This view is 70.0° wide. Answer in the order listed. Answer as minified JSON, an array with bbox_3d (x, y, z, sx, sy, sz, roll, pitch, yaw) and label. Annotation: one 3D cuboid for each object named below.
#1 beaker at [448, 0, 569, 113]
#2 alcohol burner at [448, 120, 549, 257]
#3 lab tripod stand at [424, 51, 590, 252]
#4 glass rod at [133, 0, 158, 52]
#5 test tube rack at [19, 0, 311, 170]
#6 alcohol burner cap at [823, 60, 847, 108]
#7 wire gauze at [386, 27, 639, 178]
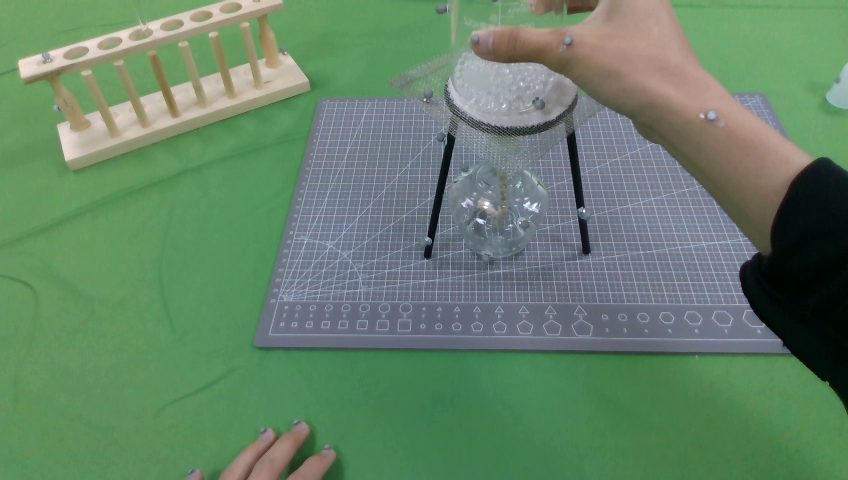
[{"bbox_3d":[0.047,-0.135,0.365,0.083,0.101,0.073,15,53,15],"label":"beaker"},{"bbox_3d":[0.057,-0.043,0.453,0.078,0.120,0.077,-1,51,1],"label":"alcohol burner"},{"bbox_3d":[0.064,-0.060,0.454,0.148,0.133,0.147,0,48,1],"label":"lab tripod stand"},{"bbox_3d":[-0.255,-0.205,0.545,0.008,0.201,0.008,2,50,-2],"label":"glass rod"},{"bbox_3d":[-0.243,-0.161,0.594,0.242,0.086,0.066,-24,52,-17],"label":"test tube rack"},{"bbox_3d":[0.412,-0.155,0.582,0.034,0.048,0.033,-1,48,2],"label":"alcohol burner cap"},{"bbox_3d":[0.057,-0.102,0.402,0.121,0.011,0.124,-34,54,-23],"label":"wire gauze"}]
